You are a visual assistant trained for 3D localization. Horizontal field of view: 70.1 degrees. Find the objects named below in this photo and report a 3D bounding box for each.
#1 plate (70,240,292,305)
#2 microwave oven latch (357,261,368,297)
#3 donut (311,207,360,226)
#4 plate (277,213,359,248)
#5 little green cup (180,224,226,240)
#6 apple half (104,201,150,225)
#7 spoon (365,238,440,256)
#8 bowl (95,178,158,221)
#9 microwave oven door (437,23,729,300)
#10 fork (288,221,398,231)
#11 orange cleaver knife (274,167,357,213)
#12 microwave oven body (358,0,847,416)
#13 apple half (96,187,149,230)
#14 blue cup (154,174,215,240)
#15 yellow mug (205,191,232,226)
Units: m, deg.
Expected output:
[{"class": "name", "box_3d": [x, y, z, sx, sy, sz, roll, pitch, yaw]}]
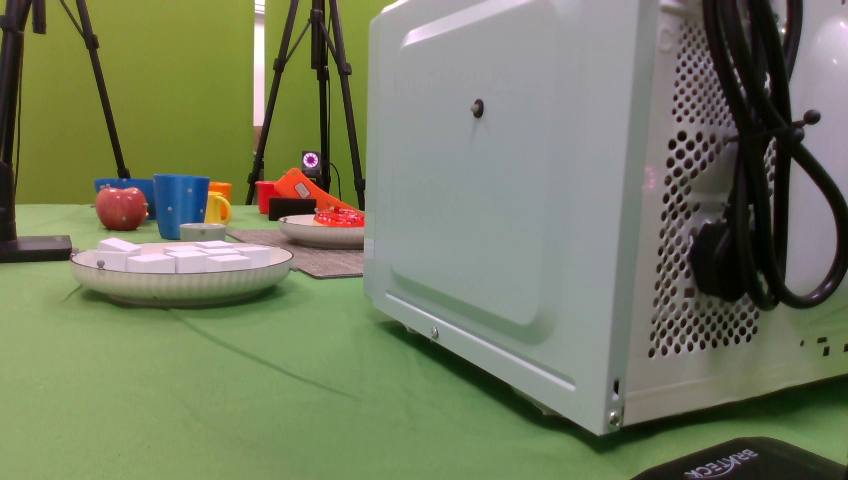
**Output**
[{"class": "plate", "box_3d": [-0.242, 0.031, 0.618, 0.208, 0.039, 0.207, 2, 8, 0]}, {"class": "microwave oven latch", "box_3d": [-0.019, 0.033, 0.530, 0.079, 0.029, 0.030, -1, 7, -26]}, {"class": "donut", "box_3d": [-0.137, -0.029, 0.995, 0.099, 0.048, 0.099, 4, 9, 0]}, {"class": "plate", "box_3d": [-0.135, -0.017, 0.993, 0.209, 0.038, 0.209, 3, 8, 0]}, {"class": "little green cup", "box_3d": [-0.309, -0.001, 0.846, 0.061, 0.038, 0.061, 2, 8, 0]}, {"class": "apple half", "box_3d": [-0.548, -0.044, 1.115, 0.081, 0.033, 0.081, 18, 6, -2]}, {"class": "spoon", "box_3d": [-0.023, 0.006, 0.907, 0.041, 0.021, 0.194, -16, -2, 30]}, {"class": "bowl", "box_3d": [-0.576, -0.081, 1.217, 0.151, 0.077, 0.151, 3, 8, 0]}, {"class": "microwave oven door", "box_3d": [0.181, -0.072, 0.621, 0.358, 0.243, 0.039, -2, 8, -29]}, {"class": "fork", "box_3d": [-0.148, -0.025, 1.120, 0.208, 0.018, 0.028, -3, 1, -22]}, {"class": "orange cleaver knife", "box_3d": [-0.238, -0.091, 1.381, 0.212, 0.077, 0.012, 31, 2, -19]}, {"class": "microwave oven body", "box_3d": [0.211, -0.047, 0.474, 0.444, 0.260, 0.324, -1, 7, -28]}, {"class": "apple half", "box_3d": [-0.516, -0.052, 1.036, 0.081, 0.074, 0.053, 3, 11, -26]}, {"class": "blue cup", "box_3d": [-0.391, -0.054, 0.978, 0.093, 0.100, 0.092, 4, 6, 0]}, {"class": "yellow mug", "box_3d": [-0.415, -0.057, 1.131, 0.130, 0.064, 0.100, 6, 8, 16]}]
